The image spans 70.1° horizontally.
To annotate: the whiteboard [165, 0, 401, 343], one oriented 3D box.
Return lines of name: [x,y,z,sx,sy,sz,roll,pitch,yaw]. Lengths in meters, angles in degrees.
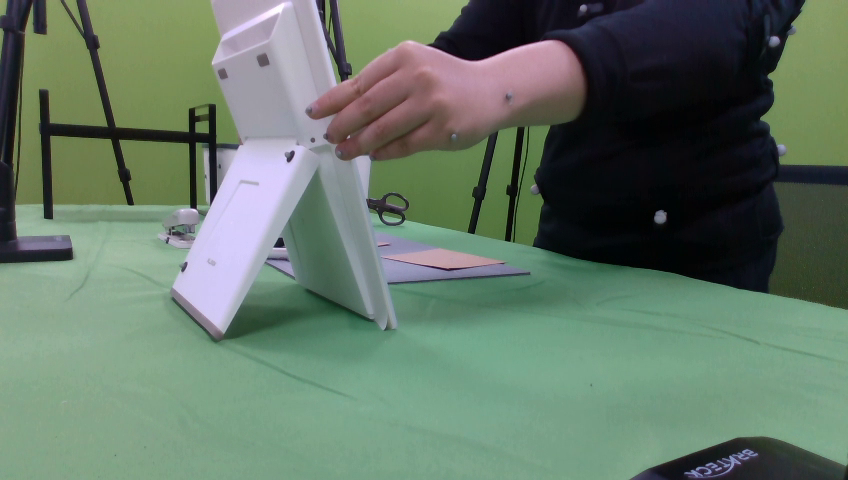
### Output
whiteboard: [-0.167,-0.055,0.511,0.144,0.305,0.216,-23,20,-28]

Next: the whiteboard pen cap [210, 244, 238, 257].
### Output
whiteboard pen cap: [-0.266,0.014,0.806,0.033,0.018,0.018,0,7,0]

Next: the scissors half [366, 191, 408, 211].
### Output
scissors half: [-0.122,-0.091,1.318,0.175,0.040,0.013,5,14,-2]

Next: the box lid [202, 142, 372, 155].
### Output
box lid: [-0.344,-0.225,1.509,0.373,0.015,0.262,-2,8,-31]

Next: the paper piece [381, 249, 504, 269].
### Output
paper piece: [0.025,0.026,0.865,0.134,0.004,0.136,10,10,43]

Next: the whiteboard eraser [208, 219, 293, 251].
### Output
whiteboard eraser: [-0.253,-0.008,0.886,0.055,0.042,0.113,12,12,42]

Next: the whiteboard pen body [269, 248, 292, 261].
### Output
whiteboard pen body: [-0.208,0.018,0.804,0.141,0.017,0.017,3,7,1]

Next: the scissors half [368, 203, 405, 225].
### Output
scissors half: [-0.127,-0.072,1.322,0.175,0.040,0.013,22,8,-5]

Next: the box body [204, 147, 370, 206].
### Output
box body: [-0.346,-0.152,1.519,0.366,0.160,0.253,-1,9,-31]

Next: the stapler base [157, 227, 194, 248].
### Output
stapler base: [-0.376,-0.007,0.934,0.041,0.024,0.130,1,5,-38]

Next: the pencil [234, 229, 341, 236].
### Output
pencil: [-0.232,-0.012,1.053,0.195,0.012,0.012,0,8,-36]

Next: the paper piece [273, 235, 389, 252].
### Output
paper piece: [-0.151,0.003,0.978,0.135,0.008,0.139,13,10,34]

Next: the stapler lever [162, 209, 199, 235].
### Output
stapler lever: [-0.376,-0.031,0.933,0.027,0.040,0.117,1,7,-38]
